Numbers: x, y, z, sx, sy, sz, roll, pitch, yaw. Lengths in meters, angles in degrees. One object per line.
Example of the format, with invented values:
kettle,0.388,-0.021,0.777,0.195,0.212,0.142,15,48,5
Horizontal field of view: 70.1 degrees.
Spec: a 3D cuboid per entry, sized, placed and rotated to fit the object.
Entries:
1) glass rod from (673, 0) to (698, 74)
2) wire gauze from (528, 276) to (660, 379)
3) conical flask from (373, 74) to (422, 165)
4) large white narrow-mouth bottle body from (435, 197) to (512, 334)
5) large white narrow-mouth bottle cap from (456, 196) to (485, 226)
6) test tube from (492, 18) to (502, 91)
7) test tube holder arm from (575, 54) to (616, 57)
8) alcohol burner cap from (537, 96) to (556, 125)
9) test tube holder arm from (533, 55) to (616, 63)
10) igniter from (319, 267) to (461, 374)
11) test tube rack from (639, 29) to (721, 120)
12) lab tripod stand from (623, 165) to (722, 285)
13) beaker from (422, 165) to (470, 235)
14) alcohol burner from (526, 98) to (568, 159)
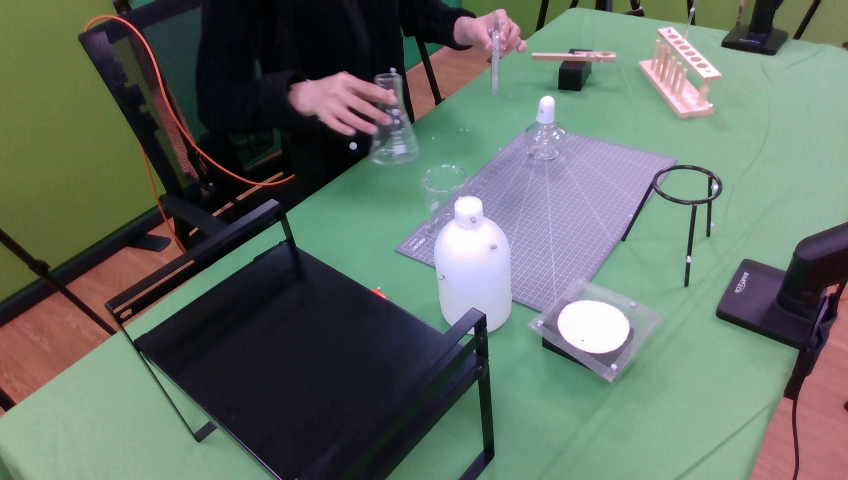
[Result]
glass rod,0.537,-0.424,1.244,0.008,0.200,0.008,0,47,0
wire gauze,0.213,0.103,0.763,0.124,0.011,0.122,30,52,35
conical flask,-0.043,-0.177,0.882,0.075,0.122,0.075,-3,29,2
large white narrow-mouth bottle body,0.066,0.028,0.805,0.102,0.195,0.101,-4,40,4
large white narrow-mouth bottle cap,0.057,-0.037,0.749,0.038,0.024,0.037,-4,40,4
test tube,0.127,-0.320,1.058,0.017,0.151,0.017,-2,55,4
test tube holder arm,0.373,-0.398,1.318,0.087,0.015,0.010,5,51,15
alcohol burner cap,0.223,-0.237,1.095,0.034,0.048,0.033,0,42,1
test tube holder arm,0.329,-0.398,1.327,0.178,0.015,0.013,5,51,15
igniter,-0.060,0.108,0.862,0.274,0.025,0.057,28,62,35
test tube rack,0.527,-0.351,1.262,0.067,0.085,0.241,-8,40,1
lab tripod stand,0.365,-0.030,0.874,0.148,0.132,0.147,-6,41,6
beaker,0.041,-0.063,0.986,0.073,0.101,0.084,20,47,29
alcohol burner,0.228,-0.210,1.118,0.078,0.119,0.077,-5,43,5
